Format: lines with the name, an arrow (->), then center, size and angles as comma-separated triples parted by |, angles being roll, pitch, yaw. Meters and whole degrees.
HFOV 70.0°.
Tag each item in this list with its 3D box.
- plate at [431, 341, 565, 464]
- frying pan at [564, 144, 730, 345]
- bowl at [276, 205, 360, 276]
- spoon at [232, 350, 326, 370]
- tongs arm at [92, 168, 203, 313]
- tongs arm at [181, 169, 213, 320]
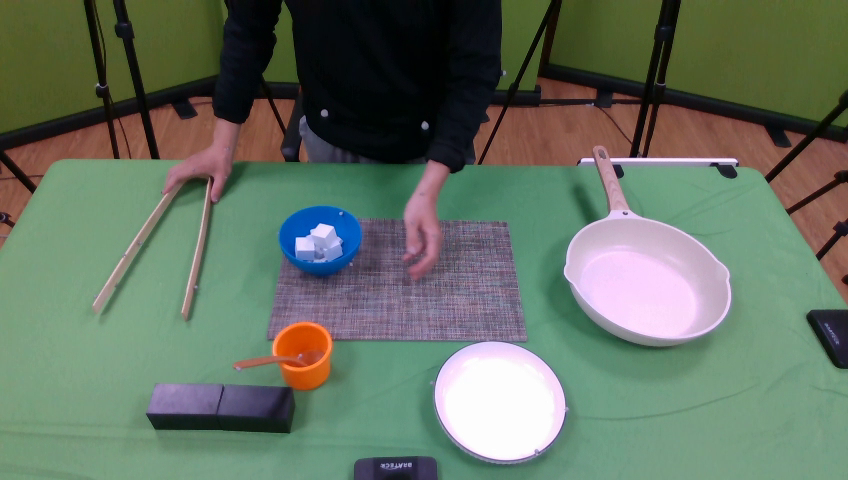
plate -> 0.114, 0.255, 0.951 | 0.208, 0.039, 0.206 | 3, 46, -2
frying pan -> 0.396, -0.008, 1.179 | 0.307, 0.103, 0.484 | 0, 55, -5
bowl -> -0.193, 0.013, 1.125 | 0.151, 0.077, 0.150 | 2, 47, -2
spoon -> -0.216, 0.182, 0.919 | 0.041, 0.194, 0.021 | 43, 101, 27
tongs arm -> -0.517, -0.013, 1.160 | 0.051, 0.026, 0.382 | 7, 45, 2
tongs arm -> -0.437, -0.006, 1.165 | 0.028, 0.028, 0.385 | -5, 46, -5
